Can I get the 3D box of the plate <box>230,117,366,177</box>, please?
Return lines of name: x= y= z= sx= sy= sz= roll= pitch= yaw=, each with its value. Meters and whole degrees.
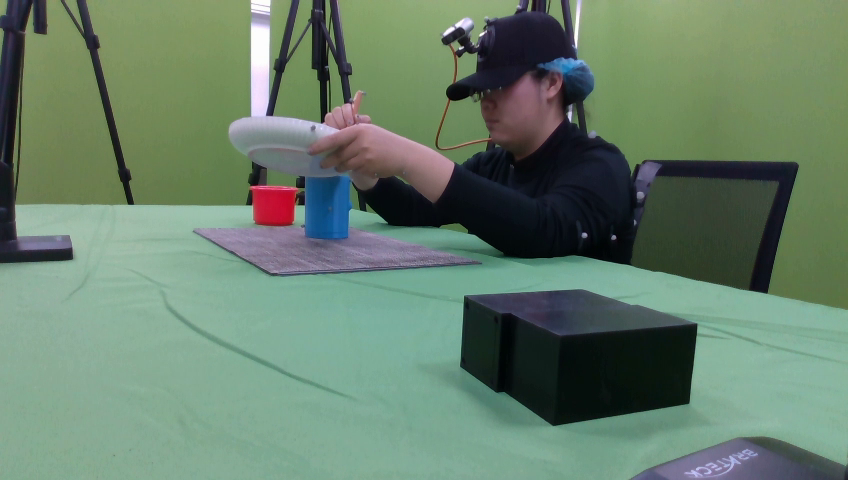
plate: x=-0.195 y=-0.135 z=0.940 sx=0.208 sy=0.039 sz=0.207 roll=5 pitch=-9 yaw=1

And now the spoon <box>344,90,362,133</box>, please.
spoon: x=-0.137 y=-0.199 z=1.067 sx=0.041 sy=0.022 sz=0.193 roll=1 pitch=51 yaw=15

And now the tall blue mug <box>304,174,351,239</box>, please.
tall blue mug: x=-0.178 y=-0.062 z=1.062 sx=0.078 sy=0.108 sz=0.106 roll=-5 pitch=10 yaw=-38
